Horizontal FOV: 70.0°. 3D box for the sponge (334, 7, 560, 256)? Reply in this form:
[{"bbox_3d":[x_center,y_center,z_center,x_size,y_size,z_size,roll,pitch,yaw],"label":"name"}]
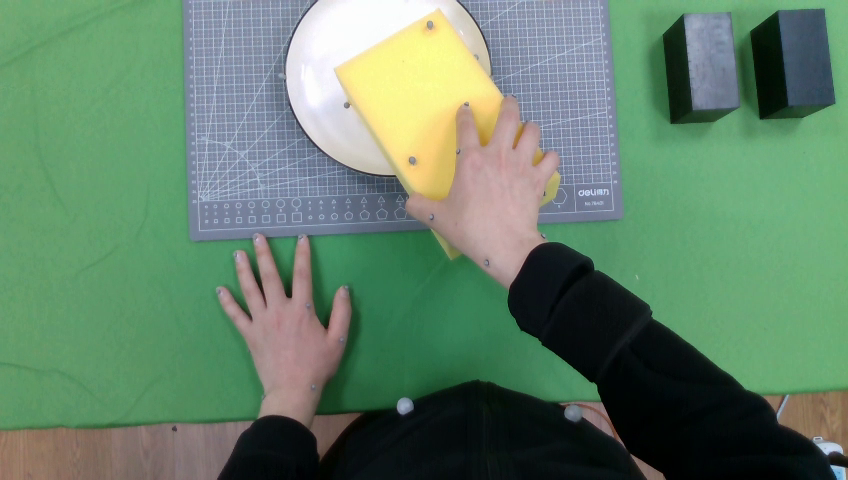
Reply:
[{"bbox_3d":[0.019,-0.104,0.574,0.118,0.061,0.205,-32,74,-3],"label":"sponge"}]

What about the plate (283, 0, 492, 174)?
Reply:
[{"bbox_3d":[-0.036,-0.167,0.621,0.209,0.038,0.208,0,86,-3],"label":"plate"}]
